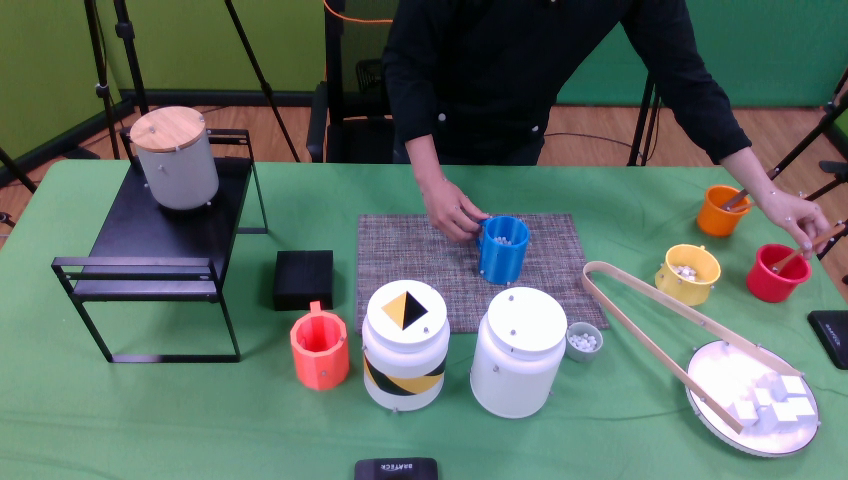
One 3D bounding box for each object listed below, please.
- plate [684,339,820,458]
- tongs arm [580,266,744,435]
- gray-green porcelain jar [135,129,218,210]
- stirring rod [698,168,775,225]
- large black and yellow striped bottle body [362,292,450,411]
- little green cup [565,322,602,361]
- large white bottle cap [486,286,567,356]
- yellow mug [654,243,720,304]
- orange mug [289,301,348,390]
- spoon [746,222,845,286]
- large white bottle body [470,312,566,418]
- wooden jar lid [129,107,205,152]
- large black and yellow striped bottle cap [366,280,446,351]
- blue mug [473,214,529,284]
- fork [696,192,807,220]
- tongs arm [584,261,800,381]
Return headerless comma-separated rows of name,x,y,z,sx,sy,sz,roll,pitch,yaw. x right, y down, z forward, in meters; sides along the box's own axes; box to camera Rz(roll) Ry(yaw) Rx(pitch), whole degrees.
plate,0.523,0.256,0.982,0.208,0.039,0.206,2,46,-2
tongs arm,0.384,0.173,1.028,0.028,0.028,0.385,-25,46,-15
gray-green porcelain jar,-0.388,-0.120,0.960,0.106,0.127,0.105,2,46,-2
stirring rod,0.644,-0.090,1.252,0.176,0.006,0.014,-40,54,17
large black and yellow striped bottle body,-0.030,0.163,0.928,0.131,0.185,0.130,2,47,-2
little green cup,0.270,0.176,1.039,0.061,0.039,0.061,2,46,-2
large white bottle cap,0.147,0.114,0.869,0.115,0.018,0.114,3,47,-3
yellow mug,0.504,0.054,1.154,0.099,0.064,0.130,28,50,22
orange mug,-0.170,0.162,0.976,0.083,0.101,0.125,-7,52,-11
spoon,0.677,0.027,1.110,0.022,0.194,0.041,23,45,-16
large white bottle body,0.143,0.173,0.930,0.131,0.185,0.130,2,46,-2
wooden jar lid,-0.385,-0.163,0.915,0.108,0.021,0.107,2,47,-2
large black and yellow striped bottle cap,-0.025,0.106,0.865,0.115,0.019,0.114,2,46,-1
blue mug,0.135,0.008,1.136,0.082,0.106,0.116,-32,57,-30
fork,0.655,-0.069,1.224,0.207,0.019,0.028,-17,31,44
tongs arm,0.452,0.137,1.064,0.051,0.027,0.382,-34,50,-27
